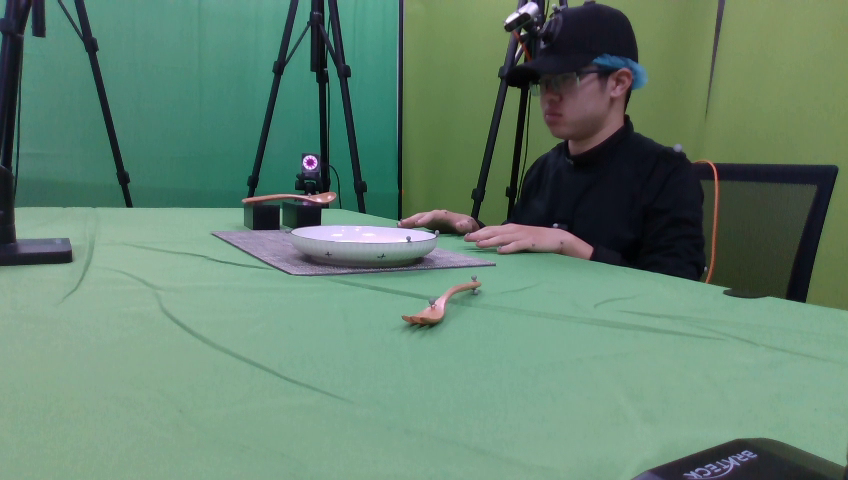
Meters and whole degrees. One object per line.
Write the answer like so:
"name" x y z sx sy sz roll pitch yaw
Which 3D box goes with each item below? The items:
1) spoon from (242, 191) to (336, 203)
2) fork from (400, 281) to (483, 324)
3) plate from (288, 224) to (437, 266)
"spoon" -0.271 -0.087 1.225 0.195 0.021 0.041 -2 31 -31
"fork" 0.025 0.057 0.590 0.028 0.018 0.208 -2 7 21
"plate" -0.086 0.007 0.852 0.208 0.039 0.207 2 7 0
